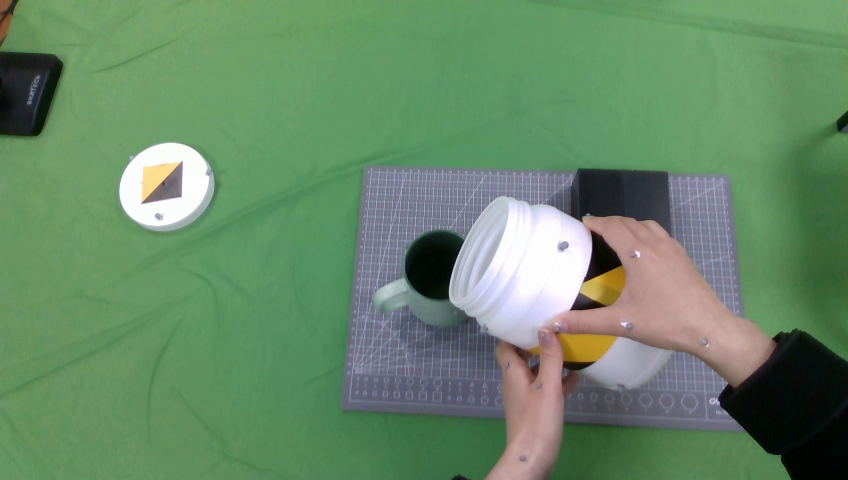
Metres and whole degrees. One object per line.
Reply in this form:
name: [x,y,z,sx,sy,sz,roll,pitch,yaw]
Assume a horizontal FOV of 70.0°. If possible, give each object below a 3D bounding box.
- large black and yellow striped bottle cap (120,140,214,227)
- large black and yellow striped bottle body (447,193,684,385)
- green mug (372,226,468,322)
large black and yellow striped bottle cap: [-0.324,-0.073,0.764,0.115,0.019,0.114,-1,71,2]
large black and yellow striped bottle body: [0.127,0.043,0.563,0.185,0.130,0.130,25,73,-12]
green mug: [0.003,0.045,0.662,0.125,0.105,0.092,-23,73,-5]
